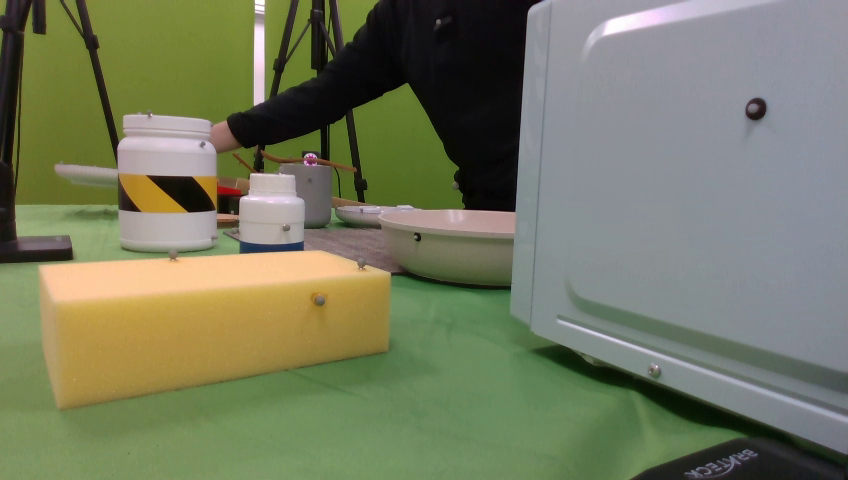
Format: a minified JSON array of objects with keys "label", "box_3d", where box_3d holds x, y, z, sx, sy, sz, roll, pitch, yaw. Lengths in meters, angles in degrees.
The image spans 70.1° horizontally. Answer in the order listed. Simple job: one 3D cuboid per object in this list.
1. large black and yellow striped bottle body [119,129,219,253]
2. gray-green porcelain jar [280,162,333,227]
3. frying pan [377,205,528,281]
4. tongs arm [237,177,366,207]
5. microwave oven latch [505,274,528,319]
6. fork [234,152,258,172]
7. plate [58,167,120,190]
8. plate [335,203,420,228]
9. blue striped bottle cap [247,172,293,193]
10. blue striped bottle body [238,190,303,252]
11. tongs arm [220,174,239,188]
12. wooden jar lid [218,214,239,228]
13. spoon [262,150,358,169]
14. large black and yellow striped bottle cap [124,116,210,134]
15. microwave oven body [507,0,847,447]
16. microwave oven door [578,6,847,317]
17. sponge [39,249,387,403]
[{"label":"large black and yellow striped bottle body","box_3d":[-0.367,-0.080,0.876,0.131,0.184,0.130,2,7,0]},{"label":"gray-green porcelain jar","box_3d":[-0.237,-0.092,1.221,0.106,0.126,0.106,2,7,0]},{"label":"frying pan","box_3d":[0.185,-0.019,0.811,0.489,0.102,0.306,-9,11,-14]},{"label":"tongs arm","box_3d":[-0.243,-0.094,1.375,0.387,0.026,0.050,9,1,-37]},{"label":"microwave oven latch","box_3d":[0.100,0.041,0.471,0.079,0.029,0.030,-1,7,-28]},{"label":"fork","box_3d":[-0.396,-0.143,1.486,0.028,0.018,0.208,20,-26,45]},{"label":"plate","box_3d":[-0.648,-0.126,1.269,0.209,0.038,0.209,4,4,0]},{"label":"plate","box_3d":[-0.089,-0.053,1.309,0.208,0.039,0.207,2,8,0]},{"label":"blue striped bottle cap","box_3d":[-0.152,-0.057,0.598,0.044,0.020,0.044,4,7,0]},{"label":"blue striped bottle body","box_3d":[-0.153,-0.007,0.606,0.063,0.120,0.063,2,7,0]},{"label":"tongs arm","box_3d":[-0.286,-0.105,1.445,0.389,0.027,0.028,10,-3,-23]},{"label":"wooden jar lid","box_3d":[-0.404,-0.037,1.169,0.108,0.020,0.108,3,7,0]},{"label":"spoon","box_3d":[-0.229,-0.162,1.221,0.194,0.021,0.041,4,5,-16]},{"label":"large black and yellow striped bottle cap","box_3d":[-0.366,-0.163,0.866,0.115,0.019,0.115,3,7,0]},{"label":"microwave oven body","box_3d":[0.331,-0.042,0.425,0.444,0.260,0.324,-2,8,-31]},{"label":"microwave oven door","box_3d":[0.294,-0.067,0.570,0.358,0.243,0.039,-3,9,-31]},{"label":"sponge","box_3d":[-0.142,0.047,0.420,0.208,0.061,0.117,-3,8,-36]}]
